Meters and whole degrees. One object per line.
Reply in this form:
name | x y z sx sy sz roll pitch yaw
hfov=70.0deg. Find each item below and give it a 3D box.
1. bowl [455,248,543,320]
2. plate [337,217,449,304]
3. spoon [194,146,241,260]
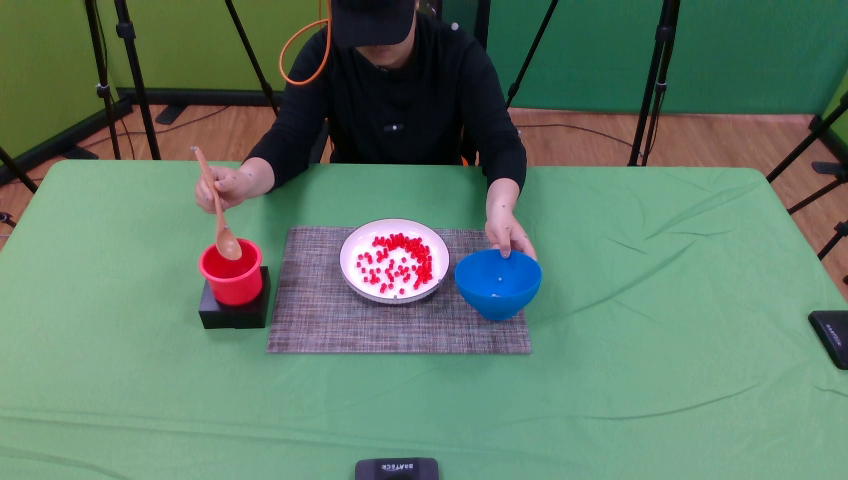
bowl | 0.129 0.085 1.049 0.151 0.077 0.150 -3 31 2
plate | -0.058 0.042 1.137 0.208 0.039 0.206 2 46 -2
spoon | -0.337 -0.060 0.982 0.021 0.193 0.042 -12 4 40
